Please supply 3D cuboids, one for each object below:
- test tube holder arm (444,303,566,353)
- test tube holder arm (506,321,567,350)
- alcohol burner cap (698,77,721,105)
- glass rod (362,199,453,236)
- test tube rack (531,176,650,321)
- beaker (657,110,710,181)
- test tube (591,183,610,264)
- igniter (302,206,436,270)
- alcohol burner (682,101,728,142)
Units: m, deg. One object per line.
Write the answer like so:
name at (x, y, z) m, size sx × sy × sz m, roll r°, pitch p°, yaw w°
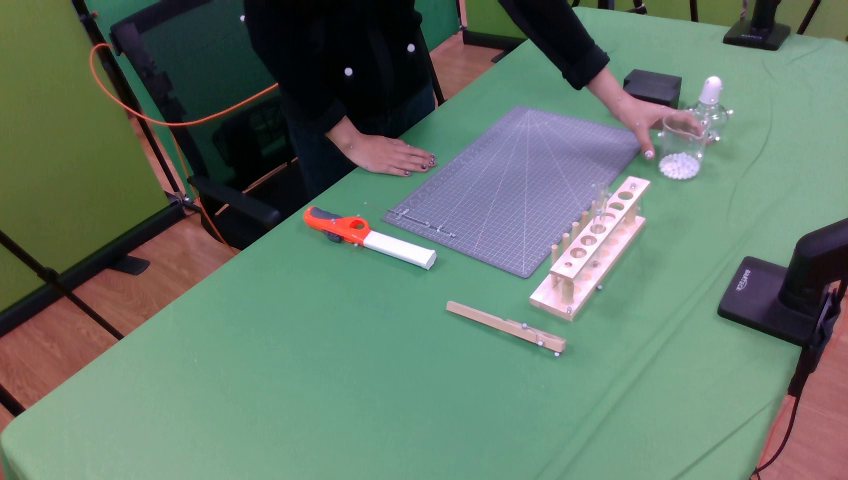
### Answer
test tube holder arm at (0.106, 0.117, 0.823) m, size 0.177 × 0.015 × 0.013 m, roll 16°, pitch 10°, yaw 27°
test tube holder arm at (0.148, 0.128, 0.808) m, size 0.087 × 0.015 × 0.010 m, roll 16°, pitch 11°, yaw 28°
alcohol burner cap at (0.509, -0.266, 1.072) m, size 0.034 × 0.048 × 0.033 m, roll -4°, pitch 48°, yaw 5°
glass rod at (-0.032, -0.041, 1.041) m, size 0.198 × 0.008 × 0.008 m, roll 22°, pitch 50°, yaw 31°
test tube rack at (0.246, 0.002, 0.884) m, size 0.066 × 0.085 × 0.243 m, roll 22°, pitch 49°, yaw 32°
beaker at (0.438, -0.156, 1.024) m, size 0.074 × 0.101 × 0.083 m, roll -14°, pitch 41°, yaw -4°
test tube at (0.242, -0.019, 0.832) m, size 0.017 × 0.151 × 0.017 m, roll -5°, pitch 46°, yaw 6°
igniter at (-0.101, -0.007, 1.004) m, size 0.274 × 0.025 × 0.057 m, roll 20°, pitch 58°, yaw 29°
alcohol burner at (0.513, -0.239, 1.097) m, size 0.078 × 0.119 × 0.077 m, roll -4°, pitch 40°, yaw 4°
